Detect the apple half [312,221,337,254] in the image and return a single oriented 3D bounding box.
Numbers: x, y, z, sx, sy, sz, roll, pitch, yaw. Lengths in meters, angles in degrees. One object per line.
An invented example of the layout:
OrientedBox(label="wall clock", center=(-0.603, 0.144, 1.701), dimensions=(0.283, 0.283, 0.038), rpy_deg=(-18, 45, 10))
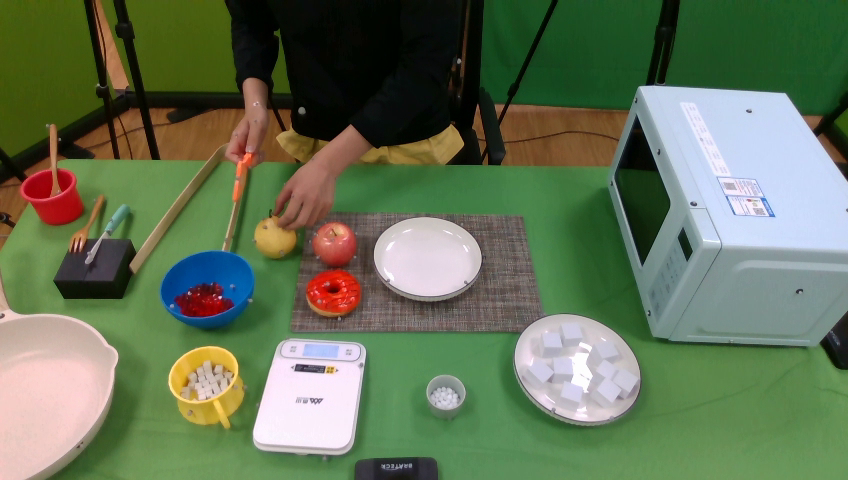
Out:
OrientedBox(label="apple half", center=(-0.189, -0.002, 1.143), dimensions=(0.032, 0.081, 0.081), rpy_deg=(28, 51, 19))

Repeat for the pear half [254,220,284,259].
OrientedBox(label="pear half", center=(-0.295, 0.003, 1.127), dimensions=(0.070, 0.088, 0.031), rpy_deg=(27, 49, 18))

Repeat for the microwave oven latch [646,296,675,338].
OrientedBox(label="microwave oven latch", center=(0.412, 0.134, 1.061), dimensions=(0.030, 0.029, 0.078), rpy_deg=(4, 45, 1))

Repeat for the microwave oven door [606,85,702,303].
OrientedBox(label="microwave oven door", center=(0.422, -0.094, 1.140), dimensions=(0.039, 0.245, 0.353), rpy_deg=(2, 46, -1))

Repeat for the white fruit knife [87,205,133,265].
OrientedBox(label="white fruit knife", center=(-0.584, -0.013, 1.129), dimensions=(0.016, 0.027, 0.206), rpy_deg=(-1, 32, -4))

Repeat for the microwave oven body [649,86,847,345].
OrientedBox(label="microwave oven body", center=(0.567, -0.053, 1.118), dimensions=(0.326, 0.261, 0.439), rpy_deg=(2, 45, -1))

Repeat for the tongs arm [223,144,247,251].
OrientedBox(label="tongs arm", center=(-0.397, -0.073, 1.232), dimensions=(0.051, 0.027, 0.382), rpy_deg=(-3, 45, 1))

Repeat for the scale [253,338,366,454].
OrientedBox(label="scale", center=(-0.175, 0.236, 0.951), dimensions=(0.149, 0.032, 0.199), rpy_deg=(4, 45, 0))

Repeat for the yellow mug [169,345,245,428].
OrientedBox(label="yellow mug", center=(-0.322, 0.230, 0.922), dimensions=(0.100, 0.064, 0.130), rpy_deg=(-24, 53, -25))

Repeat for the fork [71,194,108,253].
OrientedBox(label="fork", center=(-0.634, -0.036, 1.158), dimensions=(0.028, 0.019, 0.206), rpy_deg=(-7, 31, -8))

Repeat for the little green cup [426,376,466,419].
OrientedBox(label="little green cup", center=(0.033, 0.248, 0.950), dimensions=(0.061, 0.039, 0.061), rpy_deg=(2, 46, -2))

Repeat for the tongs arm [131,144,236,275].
OrientedBox(label="tongs arm", center=(-0.483, -0.076, 1.237), dimensions=(0.028, 0.028, 0.385), rpy_deg=(5, 45, 14))

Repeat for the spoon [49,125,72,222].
OrientedBox(label="spoon", center=(-0.718, -0.131, 1.189), dimensions=(0.041, 0.021, 0.193), rpy_deg=(-3, 90, -7))

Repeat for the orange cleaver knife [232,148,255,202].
OrientedBox(label="orange cleaver knife", center=(-0.324, -0.120, 1.084), dimensions=(0.012, 0.077, 0.210), rpy_deg=(11, 17, -13))

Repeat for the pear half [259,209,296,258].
OrientedBox(label="pear half", center=(-0.273, -0.024, 1.141), dimensions=(0.076, 0.110, 0.056), rpy_deg=(28, 51, 18))

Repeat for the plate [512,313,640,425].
OrientedBox(label="plate", center=(0.246, 0.213, 0.999), dimensions=(0.208, 0.039, 0.206), rpy_deg=(2, 46, -2))

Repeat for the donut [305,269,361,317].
OrientedBox(label="donut", center=(-0.160, 0.094, 1.075), dimensions=(0.099, 0.048, 0.098), rpy_deg=(3, 46, -3))

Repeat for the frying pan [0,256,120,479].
OrientedBox(label="frying pan", center=(-0.647, 0.164, 0.936), dimensions=(0.307, 0.103, 0.485), rpy_deg=(-19, 58, -22))

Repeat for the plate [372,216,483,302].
OrientedBox(label="plate", center=(0.006, 0.038, 1.145), dimensions=(0.209, 0.038, 0.208), rpy_deg=(2, 46, -2))

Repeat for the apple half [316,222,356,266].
OrientedBox(label="apple half", center=(-0.157, 0.015, 1.132), dimensions=(0.053, 0.075, 0.080), rpy_deg=(28, 48, 18))

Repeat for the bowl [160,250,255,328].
OrientedBox(label="bowl", center=(-0.362, 0.098, 1.040), dimensions=(0.151, 0.077, 0.150), rpy_deg=(2, 45, -2))
